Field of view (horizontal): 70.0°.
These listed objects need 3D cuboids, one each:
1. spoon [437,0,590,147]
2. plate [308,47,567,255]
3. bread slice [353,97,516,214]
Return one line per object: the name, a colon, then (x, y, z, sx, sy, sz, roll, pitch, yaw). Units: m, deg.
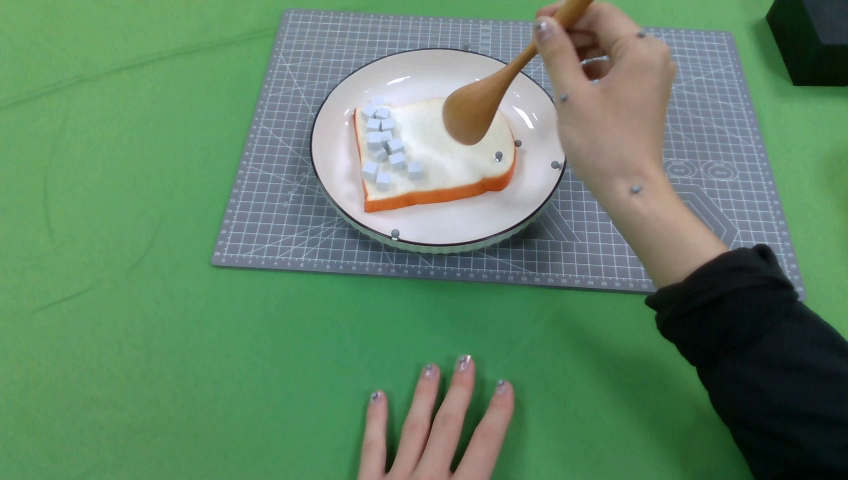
spoon: (0.065, -0.124, 0.399, 0.041, 0.194, 0.021, 51, 43, 3)
plate: (0.011, -0.074, 0.499, 0.209, 0.038, 0.207, 0, 59, 0)
bread slice: (0.009, -0.077, 0.504, 0.132, 0.019, 0.104, -10, 59, -5)
